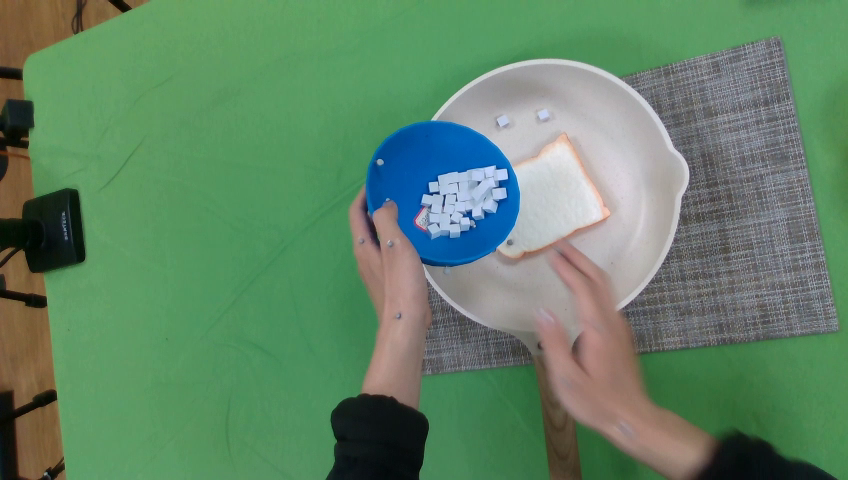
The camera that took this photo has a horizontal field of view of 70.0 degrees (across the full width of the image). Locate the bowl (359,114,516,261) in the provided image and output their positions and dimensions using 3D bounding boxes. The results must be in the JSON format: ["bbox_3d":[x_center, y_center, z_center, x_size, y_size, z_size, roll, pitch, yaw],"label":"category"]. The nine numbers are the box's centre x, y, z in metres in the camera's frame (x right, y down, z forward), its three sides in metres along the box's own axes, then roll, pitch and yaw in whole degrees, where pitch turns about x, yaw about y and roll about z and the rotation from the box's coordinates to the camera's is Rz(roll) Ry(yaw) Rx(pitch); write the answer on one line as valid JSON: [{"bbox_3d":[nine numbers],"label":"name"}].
[{"bbox_3d":[0.007,-0.040,0.600,0.152,0.077,0.150,4,68,-11],"label":"bowl"}]

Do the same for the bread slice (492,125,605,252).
[{"bbox_3d":[0.123,-0.048,0.687,0.134,0.018,0.106,-32,78,15],"label":"bread slice"}]

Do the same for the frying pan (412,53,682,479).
[{"bbox_3d":[0.122,0.051,0.642,0.306,0.103,0.485,-8,78,21],"label":"frying pan"}]
